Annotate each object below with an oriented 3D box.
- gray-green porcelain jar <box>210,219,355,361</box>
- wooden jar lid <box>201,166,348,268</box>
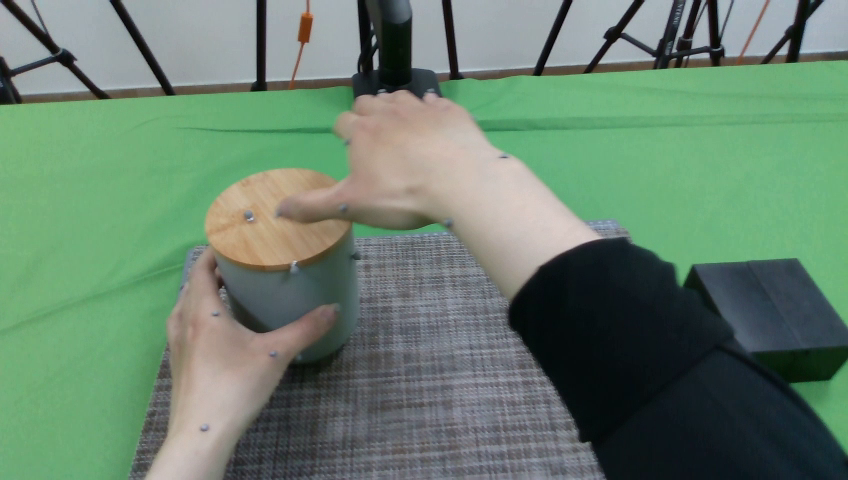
[{"bbox_3d":[-0.111,0.029,0.500,0.106,0.127,0.105,1,43,0],"label":"gray-green porcelain jar"},{"bbox_3d":[-0.111,-0.016,0.457,0.108,0.021,0.107,2,46,-1],"label":"wooden jar lid"}]
